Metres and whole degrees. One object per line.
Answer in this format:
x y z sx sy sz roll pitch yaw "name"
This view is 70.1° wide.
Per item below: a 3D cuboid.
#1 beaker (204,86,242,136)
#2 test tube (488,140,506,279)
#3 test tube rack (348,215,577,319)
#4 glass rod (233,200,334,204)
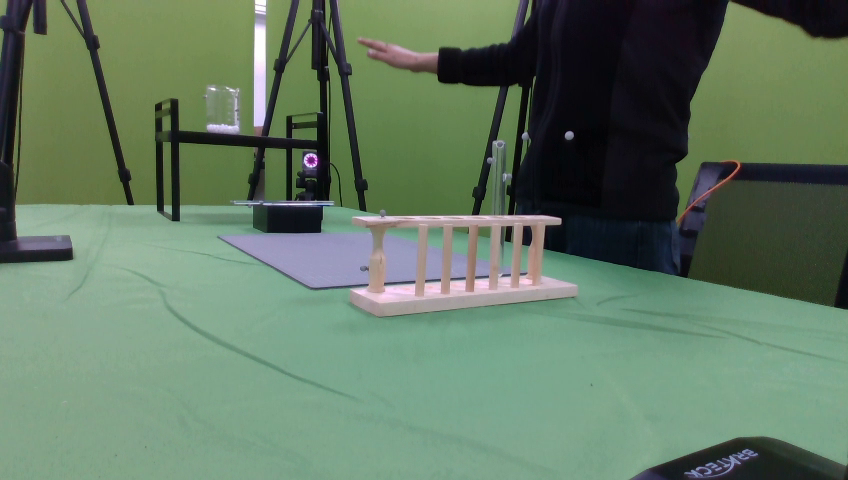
-0.429 -0.276 1.300 0.083 0.100 0.074 9 10 37 "beaker"
0.079 -0.032 0.654 0.017 0.150 0.017 1 2 0 "test tube"
0.048 0.021 0.619 0.244 0.085 0.066 -2 9 -31 "test tube rack"
-0.262 -0.071 1.146 0.201 0.008 0.008 -2 9 -34 "glass rod"
